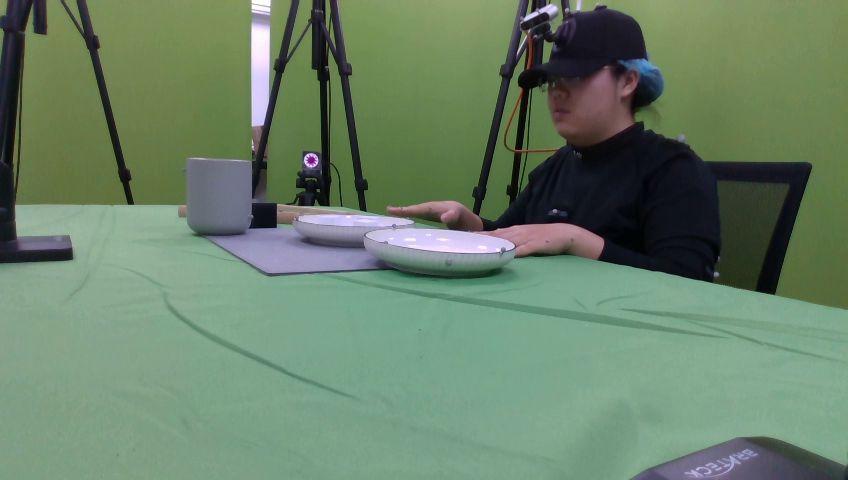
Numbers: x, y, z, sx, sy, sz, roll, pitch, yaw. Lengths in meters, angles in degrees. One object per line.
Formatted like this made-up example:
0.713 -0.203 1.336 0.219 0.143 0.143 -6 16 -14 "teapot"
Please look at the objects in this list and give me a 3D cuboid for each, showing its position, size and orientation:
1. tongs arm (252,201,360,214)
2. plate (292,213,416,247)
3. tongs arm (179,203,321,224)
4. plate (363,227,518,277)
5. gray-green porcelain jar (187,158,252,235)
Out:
-0.307 -0.064 1.348 0.384 0.026 0.051 7 8 20 "tongs arm"
-0.118 -0.017 1.024 0.208 0.039 0.207 2 8 0 "plate"
-0.330 -0.052 1.270 0.387 0.028 0.028 4 4 6 "tongs arm"
0.021 0.016 0.817 0.209 0.038 0.209 3 9 0 "plate"
-0.350 -0.075 1.036 0.106 0.126 0.106 3 8 0 "gray-green porcelain jar"
